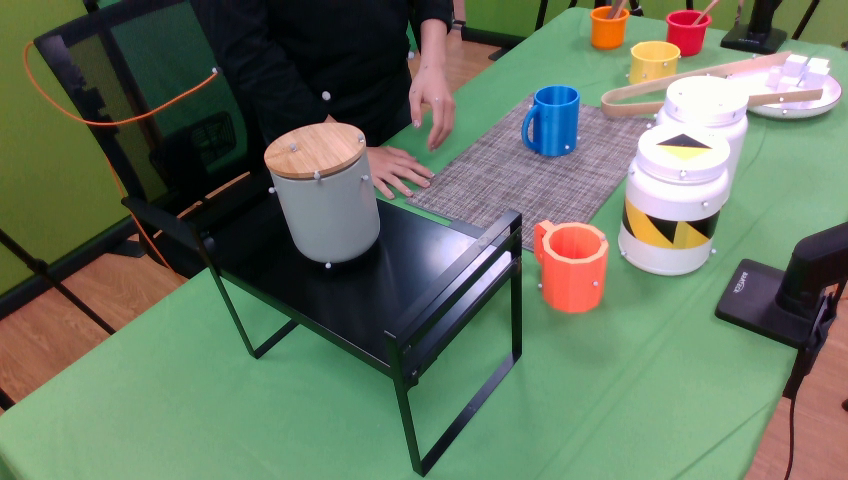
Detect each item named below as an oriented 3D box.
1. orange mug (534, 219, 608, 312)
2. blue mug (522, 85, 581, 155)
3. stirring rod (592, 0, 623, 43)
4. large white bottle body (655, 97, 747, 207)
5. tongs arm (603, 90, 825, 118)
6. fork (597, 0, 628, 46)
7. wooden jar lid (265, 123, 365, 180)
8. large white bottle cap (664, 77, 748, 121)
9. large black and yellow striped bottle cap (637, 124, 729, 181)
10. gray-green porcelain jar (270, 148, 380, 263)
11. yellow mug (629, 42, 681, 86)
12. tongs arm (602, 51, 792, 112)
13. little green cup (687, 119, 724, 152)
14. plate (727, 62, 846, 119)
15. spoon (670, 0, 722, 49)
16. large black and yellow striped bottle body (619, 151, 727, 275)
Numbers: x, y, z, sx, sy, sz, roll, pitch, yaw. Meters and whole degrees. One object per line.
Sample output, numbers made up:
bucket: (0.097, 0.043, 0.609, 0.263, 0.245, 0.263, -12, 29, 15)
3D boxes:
orange mug: (0.200, 0.027, 0.858, 0.084, 0.101, 0.125, -24, 47, -18)
blue mug: (0.233, -0.218, 1.127, 0.117, 0.106, 0.081, -23, 43, -16)
stirring rod: (0.460, -0.557, 1.461, 0.014, 0.176, 0.006, 35, 11, 23)
large white bottle body: (0.431, -0.148, 0.959, 0.130, 0.185, 0.130, -4, 41, 4)
tongs arm: (0.546, -0.262, 1.163, 0.386, 0.028, 0.028, -1, 49, 18)
fork: (0.479, -0.558, 1.455, 0.028, 0.019, 0.207, 35, 100, 38)
wooden jar lid: (-0.115, -0.092, 0.651, 0.108, 0.021, 0.108, -4, 38, 4)
large white bottle cap: (0.421, -0.212, 0.905, 0.115, 0.018, 0.114, -4, 40, 4)
large black and yellow striped bottle cap: (0.346, -0.119, 0.810, 0.115, 0.019, 0.114, -5, 41, 5)
gray-green porcelain jar: (-0.109, -0.045, 0.692, 0.106, 0.127, 0.105, -4, 40, 4)
yellow mug: (0.495, -0.389, 1.321, 0.100, 0.064, 0.130, -14, 40, -6)
tongs arm: (0.552, -0.320, 1.224, 0.384, 0.027, 0.050, -10, 43, 7)
little green cup: (0.514, -0.191, 1.109, 0.061, 0.039, 0.061, -5, 40, 5)
plate: (0.709, -0.292, 1.197, 0.207, 0.039, 0.206, -4, 40, 4)
spoon: (0.639, -0.510, 1.380, 0.193, 0.022, 0.041, -49, 40, 19)
large black and yellow striped bottle body: (0.354, -0.056, 0.865, 0.131, 0.185, 0.130, -4, 41, 4)
